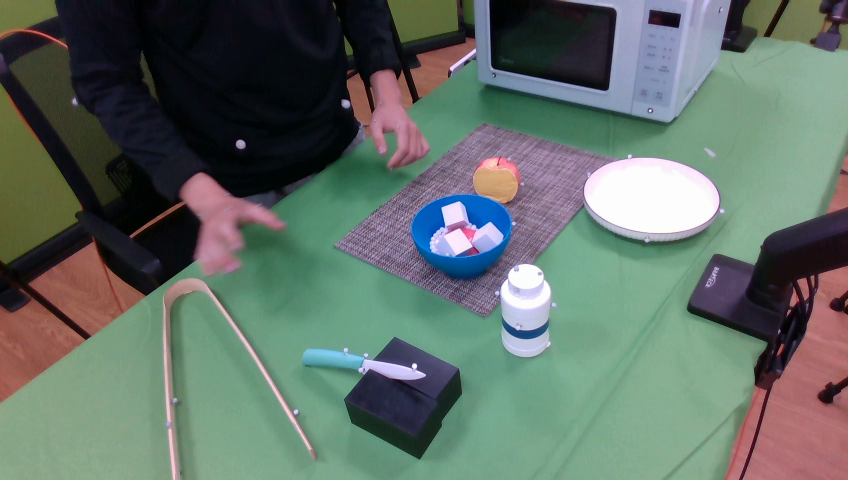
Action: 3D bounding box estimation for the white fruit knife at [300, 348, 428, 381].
[{"bbox_3d":[-0.079,0.154,0.748,0.206,0.027,0.016,1,20,34],"label":"white fruit knife"}]

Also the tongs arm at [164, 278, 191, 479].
[{"bbox_3d":[-0.313,0.182,0.789,0.051,0.026,0.381,-19,41,-14],"label":"tongs arm"}]

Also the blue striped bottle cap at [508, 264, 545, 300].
[{"bbox_3d":[0.125,0.050,0.735,0.044,0.021,0.044,-6,39,5],"label":"blue striped bottle cap"}]

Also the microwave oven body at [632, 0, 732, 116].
[{"bbox_3d":[0.377,-0.463,1.267,0.438,0.261,0.327,21,49,30],"label":"microwave oven body"}]

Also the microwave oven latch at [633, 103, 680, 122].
[{"bbox_3d":[0.444,-0.249,1.158,0.078,0.029,0.030,21,49,30],"label":"microwave oven latch"}]

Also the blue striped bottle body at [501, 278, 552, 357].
[{"bbox_3d":[0.129,0.089,0.769,0.063,0.121,0.063,-4,41,4],"label":"blue striped bottle body"}]

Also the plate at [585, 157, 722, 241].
[{"bbox_3d":[0.367,-0.063,0.979,0.207,0.039,0.206,-4,40,4],"label":"plate"}]

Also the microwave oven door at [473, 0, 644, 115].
[{"bbox_3d":[0.257,-0.396,1.199,0.353,0.245,0.039,21,48,29],"label":"microwave oven door"}]

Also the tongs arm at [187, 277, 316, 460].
[{"bbox_3d":[-0.241,0.155,0.816,0.028,0.028,0.384,-31,46,-21],"label":"tongs arm"}]

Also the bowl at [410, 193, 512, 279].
[{"bbox_3d":[0.058,0.005,0.905,0.151,0.077,0.150,-4,40,4],"label":"bowl"}]

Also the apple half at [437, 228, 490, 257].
[{"bbox_3d":[0.056,0.002,0.902,0.081,0.033,0.081,-3,40,3],"label":"apple half"}]

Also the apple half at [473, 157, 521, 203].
[{"bbox_3d":[0.128,-0.107,1.030,0.080,0.075,0.053,4,38,19],"label":"apple half"}]
